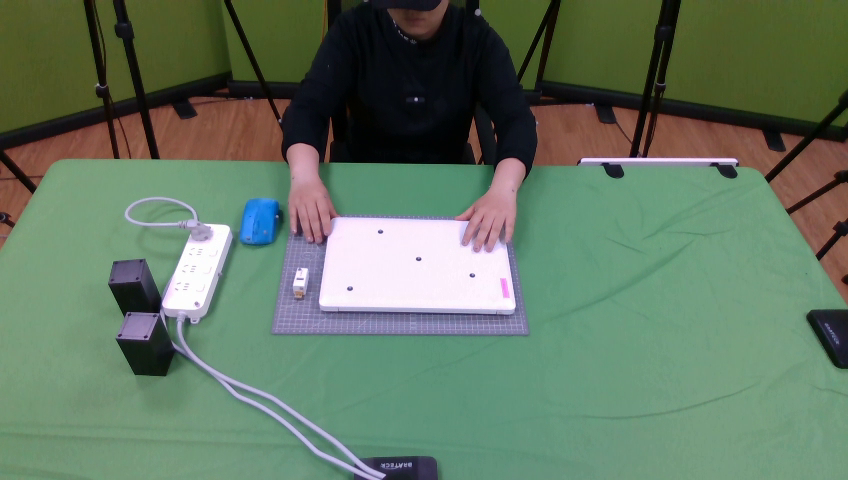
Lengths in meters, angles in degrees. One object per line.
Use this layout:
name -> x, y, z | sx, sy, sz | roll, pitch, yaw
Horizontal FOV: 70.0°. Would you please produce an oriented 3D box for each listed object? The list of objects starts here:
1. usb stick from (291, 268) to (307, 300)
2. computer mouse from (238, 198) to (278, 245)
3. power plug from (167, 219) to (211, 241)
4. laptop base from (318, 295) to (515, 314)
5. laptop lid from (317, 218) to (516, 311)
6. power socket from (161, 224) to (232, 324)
usb stick -> -0.226, 0.081, 1.093 | 0.021, 0.027, 0.059 | 5, 48, -3
computer mouse -> -0.328, -0.039, 1.200 | 0.063, 0.041, 0.116 | 4, 50, -4
power plug -> -0.438, -0.017, 1.143 | 0.072, 0.053, 0.035 | 9, 42, 7
laptop base -> -0.014, 0.050, 1.150 | 0.354, 0.023, 0.234 | 1, 42, -3
laptop lid -> -0.013, 0.040, 1.143 | 0.357, 0.013, 0.240 | 3, 43, -2
power socket -> -0.411, 0.052, 1.107 | 0.072, 0.033, 0.225 | 4, 46, -1
